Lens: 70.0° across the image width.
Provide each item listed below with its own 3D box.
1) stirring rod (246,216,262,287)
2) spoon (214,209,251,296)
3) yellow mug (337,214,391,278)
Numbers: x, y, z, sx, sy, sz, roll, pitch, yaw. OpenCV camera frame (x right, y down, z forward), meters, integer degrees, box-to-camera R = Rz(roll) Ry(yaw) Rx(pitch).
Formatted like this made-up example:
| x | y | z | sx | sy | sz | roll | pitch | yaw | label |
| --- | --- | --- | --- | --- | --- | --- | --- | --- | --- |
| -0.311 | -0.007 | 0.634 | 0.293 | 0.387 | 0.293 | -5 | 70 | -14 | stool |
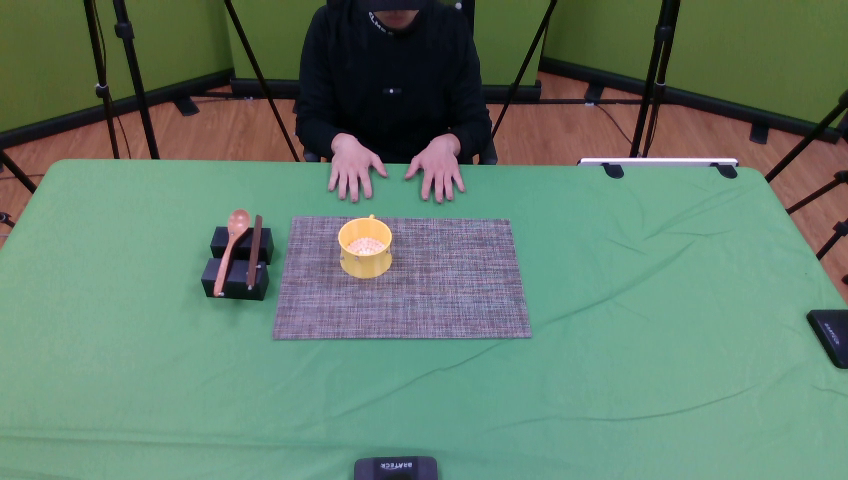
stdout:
| x | y | z | sx | sy | sz | roll | pitch | yaw | label |
| --- | --- | --- | --- | --- | --- | --- | --- | --- | --- |
| -0.308 | 0.017 | 1.098 | 0.014 | 0.006 | 0.175 | 24 | 37 | -28 | stirring rod |
| -0.349 | 0.019 | 1.087 | 0.041 | 0.022 | 0.192 | 3 | 48 | 1 | spoon |
| -0.110 | 0.003 | 1.152 | 0.100 | 0.064 | 0.130 | 7 | 45 | 2 | yellow mug |
